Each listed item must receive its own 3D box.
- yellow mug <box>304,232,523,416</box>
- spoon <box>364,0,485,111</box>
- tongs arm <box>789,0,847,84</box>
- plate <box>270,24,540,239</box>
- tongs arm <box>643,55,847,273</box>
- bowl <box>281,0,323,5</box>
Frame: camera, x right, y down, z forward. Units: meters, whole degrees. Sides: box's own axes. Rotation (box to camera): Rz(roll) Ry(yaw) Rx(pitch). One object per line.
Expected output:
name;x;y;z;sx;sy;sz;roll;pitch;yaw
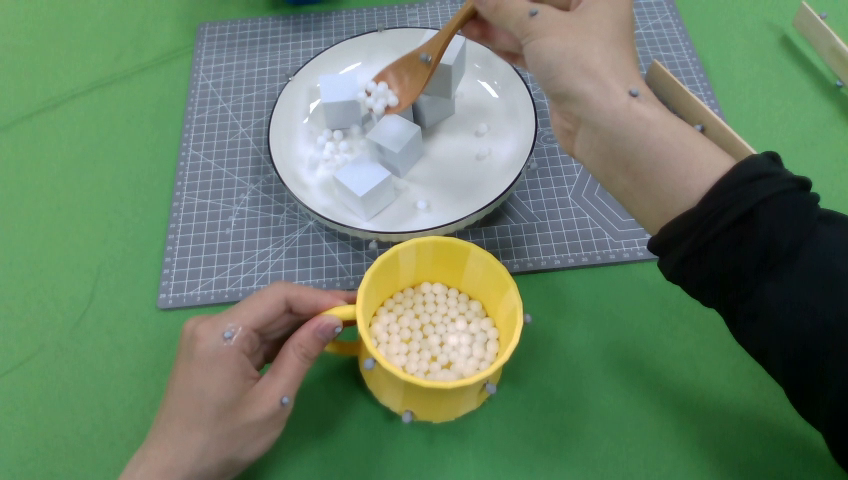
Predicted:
yellow mug;-0.009;0.054;0.379;0.131;0.064;0.099;-2;58;-6
spoon;0.030;-0.146;0.385;0.194;0.022;0.041;-36;59;33
tongs arm;0.366;-0.039;0.439;0.051;0.027;0.381;-18;63;-8
plate;-0.014;-0.087;0.481;0.207;0.039;0.206;-1;60;3
tongs arm;0.292;-0.008;0.427;0.028;0.028;0.384;-29;64;-17
bowl;-0.121;-0.282;0.578;0.151;0.077;0.150;-2;60;3
